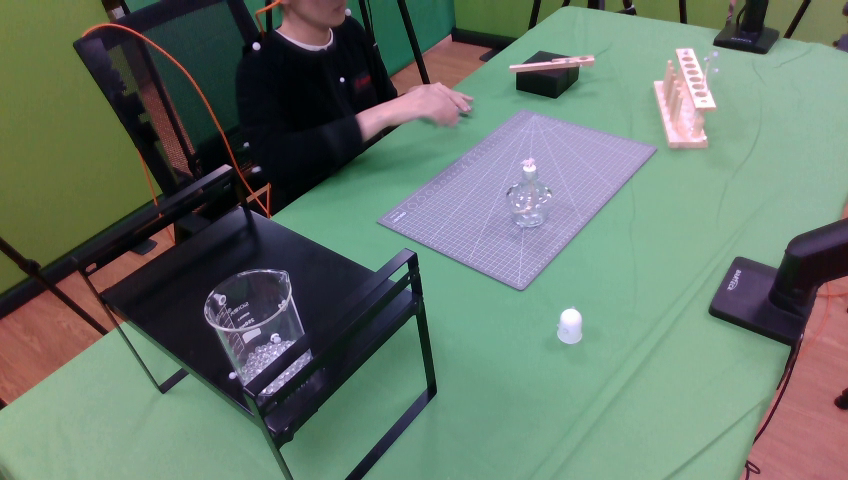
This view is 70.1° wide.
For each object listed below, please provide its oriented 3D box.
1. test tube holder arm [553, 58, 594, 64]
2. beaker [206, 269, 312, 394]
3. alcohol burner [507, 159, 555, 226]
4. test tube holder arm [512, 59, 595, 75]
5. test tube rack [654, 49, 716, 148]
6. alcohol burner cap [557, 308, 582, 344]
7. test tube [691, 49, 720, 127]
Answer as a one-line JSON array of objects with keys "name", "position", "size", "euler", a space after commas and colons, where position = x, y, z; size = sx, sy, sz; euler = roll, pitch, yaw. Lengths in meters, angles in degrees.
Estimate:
[{"name": "test tube holder arm", "position": [0.321, -0.380, 1.299], "size": [0.088, 0.015, 0.010], "euler": [-5, 38, 1]}, {"name": "beaker", "position": [-0.146, 0.086, 0.560], "size": [0.073, 0.101, 0.084], "euler": [19, 47, 27]}, {"name": "alcohol burner", "position": [0.172, -0.081, 0.969], "size": [0.078, 0.119, 0.077], "euler": [-4, 42, 4]}, {"name": "test tube holder arm", "position": [0.276, -0.371, 1.294], "size": [0.179, 0.015, 0.013], "euler": [-8, 38, -2]}, {"name": "test tube rack", "position": [0.502, -0.281, 1.176], "size": [0.066, 0.085, 0.241], "euler": [2, 41, 11]}, {"name": "alcohol burner cap", "position": [0.194, 0.111, 0.802], "size": [0.034, 0.048, 0.033], "euler": [-4, 39, 3]}, {"name": "test tube", "position": [0.505, -0.270, 1.087], "size": [0.017, 0.151, 0.017], "euler": [-2, 41, 2]}]
